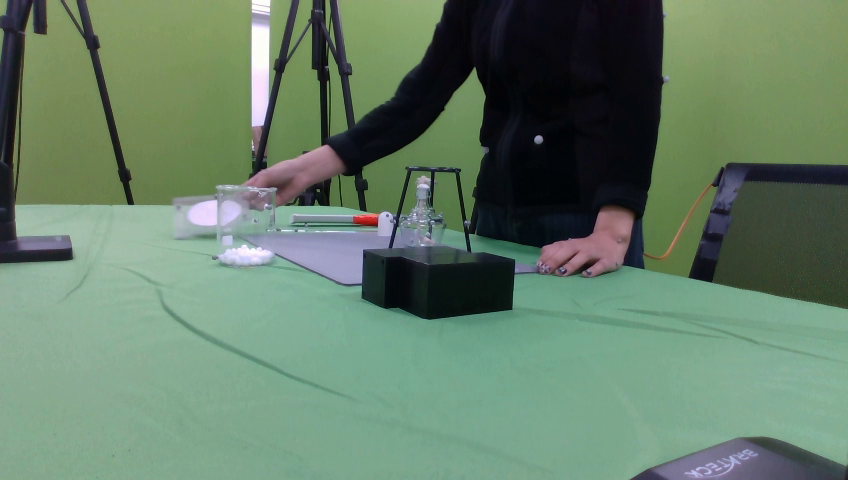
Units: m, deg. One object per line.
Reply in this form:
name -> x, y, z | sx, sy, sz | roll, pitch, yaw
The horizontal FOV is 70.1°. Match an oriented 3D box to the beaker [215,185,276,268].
beaker -> -0.226, -0.019, 0.773 | 0.074, 0.100, 0.084 | 5, 7, 14

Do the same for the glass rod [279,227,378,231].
glass rod -> -0.175, -0.021, 1.161 | 0.200, 0.008, 0.008 | 1, 7, -15

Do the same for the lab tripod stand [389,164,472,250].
lab tripod stand -> 0.011, -0.054, 0.960 | 0.148, 0.131, 0.148 | 2, 9, 0

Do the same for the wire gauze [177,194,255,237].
wire gauze -> -0.353, -0.047, 1.022 | 0.122, 0.011, 0.124 | -11, 32, -17

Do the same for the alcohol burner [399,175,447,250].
alcohol burner -> -0.002, -0.044, 0.962 | 0.078, 0.119, 0.078 | 1, 8, 0

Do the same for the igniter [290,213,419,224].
igniter -> -0.144, -0.046, 1.288 | 0.278, 0.025, 0.057 | -1, -3, -24

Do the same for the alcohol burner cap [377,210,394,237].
alcohol burner cap -> -0.069, -0.030, 1.112 | 0.034, 0.048, 0.034 | 1, 9, 0
